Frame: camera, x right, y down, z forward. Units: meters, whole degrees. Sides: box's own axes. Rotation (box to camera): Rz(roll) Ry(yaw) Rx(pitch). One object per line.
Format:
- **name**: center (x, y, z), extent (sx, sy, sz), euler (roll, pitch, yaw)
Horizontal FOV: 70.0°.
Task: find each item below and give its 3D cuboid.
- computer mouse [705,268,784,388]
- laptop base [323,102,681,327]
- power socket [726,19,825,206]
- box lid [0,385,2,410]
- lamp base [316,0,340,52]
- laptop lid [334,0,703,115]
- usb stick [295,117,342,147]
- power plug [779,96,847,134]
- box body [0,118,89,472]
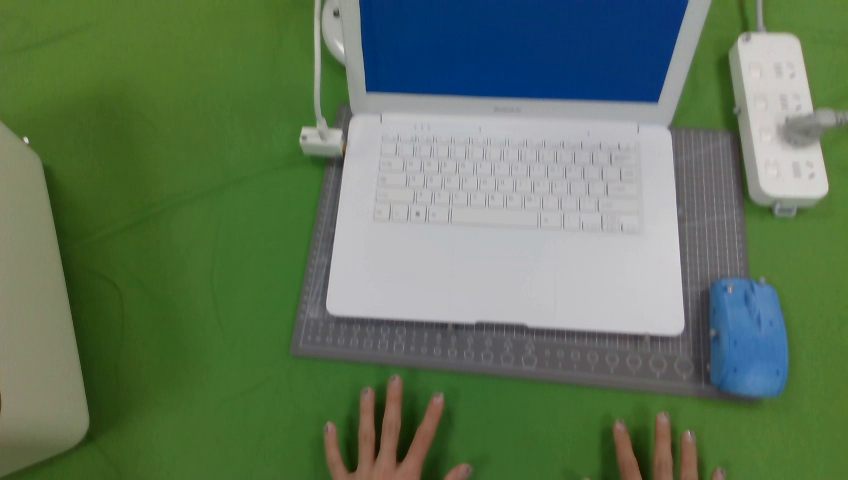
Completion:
- **computer mouse**: center (0.303, 0.081, 0.575), extent (0.063, 0.041, 0.116), euler (8, 67, 6)
- **laptop base**: center (0.081, -0.032, 0.635), extent (0.354, 0.023, 0.234), euler (3, 74, 3)
- **power socket**: center (0.379, -0.146, 0.660), extent (0.072, 0.033, 0.225), euler (3, 70, 1)
- **box lid**: center (-0.489, 0.024, 0.477), extent (0.263, 0.015, 0.368), euler (-21, 72, -6)
- **lamp base**: center (-0.059, -0.314, 0.656), extent (0.160, 0.181, 0.178), euler (-33, 69, -10)
- **laptop lid**: center (0.087, -0.224, 0.588), extent (0.356, 0.244, 0.013), euler (1, 46, 4)
- **usb stick**: center (-0.107, -0.116, 0.658), extent (0.059, 0.027, 0.021), euler (7, 65, 2)
- **power plug**: center (0.406, -0.123, 0.626), extent (0.072, 0.053, 0.035), euler (13, 70, 4)
- **box body**: center (-0.487, 0.052, 0.547), extent (0.254, 0.161, 0.361), euler (-21, 71, -6)
